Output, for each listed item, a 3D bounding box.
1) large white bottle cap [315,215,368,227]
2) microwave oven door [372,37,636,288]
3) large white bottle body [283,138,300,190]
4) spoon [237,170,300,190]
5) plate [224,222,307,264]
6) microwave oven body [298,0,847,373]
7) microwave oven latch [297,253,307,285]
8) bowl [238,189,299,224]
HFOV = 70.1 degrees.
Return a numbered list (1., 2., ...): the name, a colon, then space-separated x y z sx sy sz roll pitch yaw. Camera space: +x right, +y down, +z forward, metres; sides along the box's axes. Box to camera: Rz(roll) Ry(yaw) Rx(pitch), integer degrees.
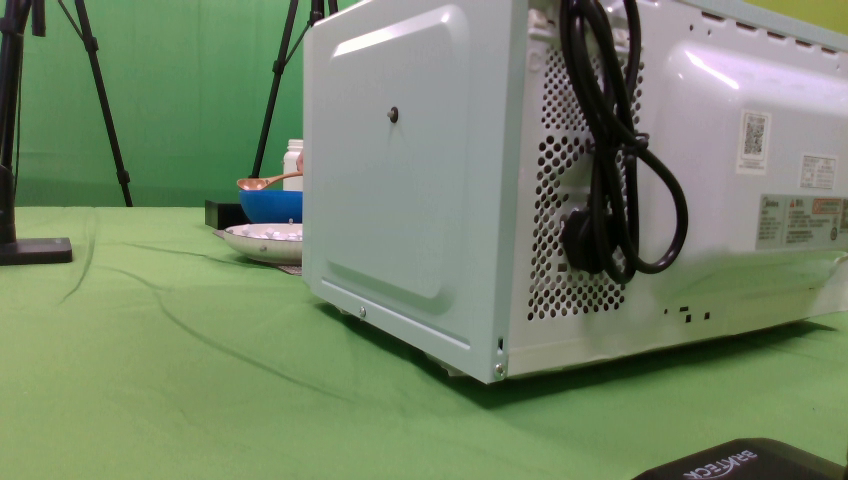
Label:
1. large white bottle cap: -0.178 -0.041 1.309 0.115 0.018 0.115 2 7 0
2. microwave oven door: 0.110 -0.080 0.686 0.358 0.243 0.039 -2 9 -33
3. large white bottle body: -0.265 -0.143 1.424 0.131 0.184 0.130 2 7 0
4. spoon: -0.278 -0.127 1.217 0.194 0.021 0.041 -17 42 -22
5. plate: -0.171 0.004 0.849 0.209 0.038 0.209 2 7 0
6. microwave oven body: 0.151 -0.055 0.542 0.444 0.260 0.324 -2 7 -33
7. microwave oven latch: -0.082 0.027 0.582 0.079 0.029 0.030 -1 7 -32
8. bowl: -0.245 -0.045 1.053 0.151 0.077 0.151 3 8 0
